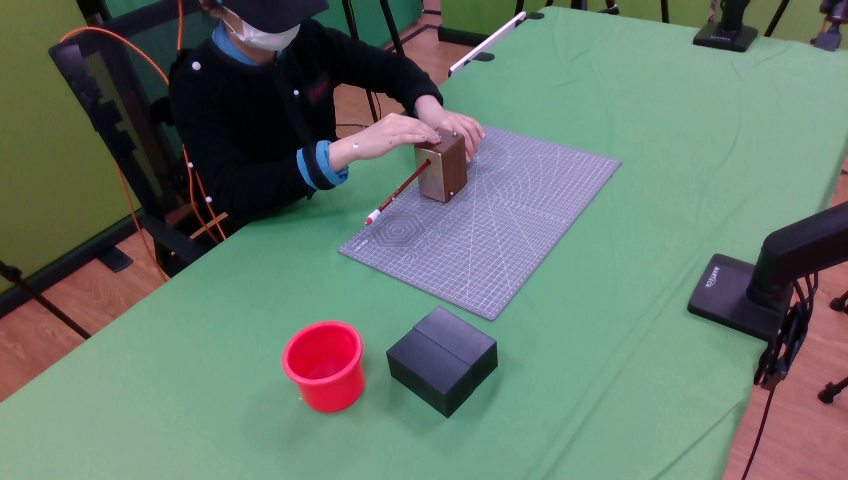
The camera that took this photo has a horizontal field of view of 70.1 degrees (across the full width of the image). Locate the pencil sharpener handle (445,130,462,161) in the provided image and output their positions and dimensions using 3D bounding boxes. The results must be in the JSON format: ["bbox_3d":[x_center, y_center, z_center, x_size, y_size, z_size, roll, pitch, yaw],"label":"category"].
[{"bbox_3d":[0.057,-0.172,1.071,0.036,0.068,0.031,30,52,20],"label":"pencil sharpener handle"}]

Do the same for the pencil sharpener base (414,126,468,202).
[{"bbox_3d":[0.032,-0.132,1.047,0.061,0.107,0.077,21,48,30],"label":"pencil sharpener base"}]

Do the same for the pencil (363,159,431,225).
[{"bbox_3d":[-0.033,-0.089,0.978,0.012,0.012,0.194,24,57,32],"label":"pencil"}]
